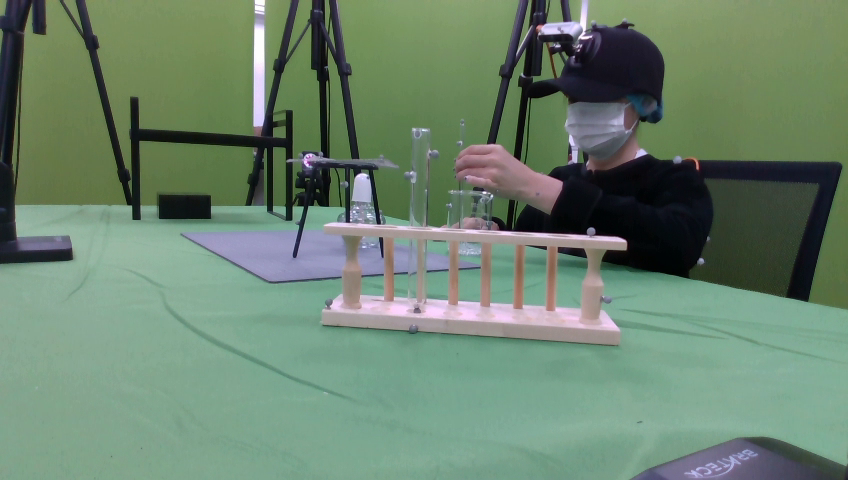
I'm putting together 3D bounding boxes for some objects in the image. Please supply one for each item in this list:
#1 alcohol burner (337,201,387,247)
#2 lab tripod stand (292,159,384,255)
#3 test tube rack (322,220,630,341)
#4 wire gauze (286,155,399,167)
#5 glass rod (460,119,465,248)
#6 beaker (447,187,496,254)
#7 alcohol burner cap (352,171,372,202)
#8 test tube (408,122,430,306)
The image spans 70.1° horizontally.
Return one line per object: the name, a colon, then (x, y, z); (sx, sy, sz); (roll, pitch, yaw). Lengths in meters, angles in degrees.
alcohol burner: (-0.098, -0.049, 0.954); (0.078, 0.119, 0.078); (0, 7, 0)
lab tripod stand: (-0.105, -0.039, 0.797); (0.148, 0.131, 0.148); (2, 5, 0)
test tube rack: (0.041, 0.029, 0.512); (0.242, 0.085, 0.067); (3, 7, 5)
wire gauze: (-0.101, -0.105, 0.788); (0.121, 0.011, 0.125); (4, 6, 6)
glass rod: (0.060, -0.085, 0.933); (0.008, 0.199, 0.008); (-1, 11, 0)
beaker: (0.076, -0.031, 0.949); (0.074, 0.100, 0.083); (-5, 11, -42)
alcohol burner cap: (-0.096, -0.084, 0.951); (0.034, 0.048, 0.034); (6, 5, 0)
test tube: (-0.004, -0.019, 0.489); (0.017, 0.150, 0.017); (1, 11, 0)
